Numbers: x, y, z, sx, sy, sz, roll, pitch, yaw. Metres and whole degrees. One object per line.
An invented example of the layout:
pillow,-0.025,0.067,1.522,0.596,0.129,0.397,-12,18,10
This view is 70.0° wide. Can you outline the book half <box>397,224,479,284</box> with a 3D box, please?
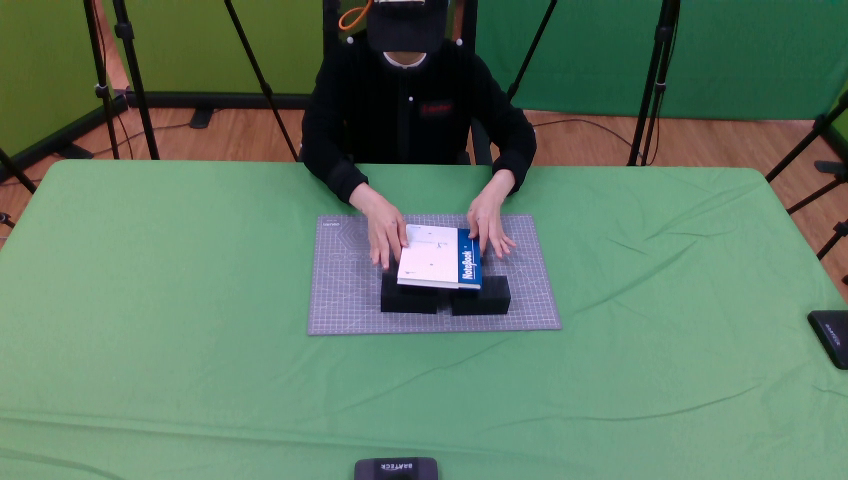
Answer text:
book half,0.029,0.023,1.128,0.143,0.007,0.209,5,28,1
